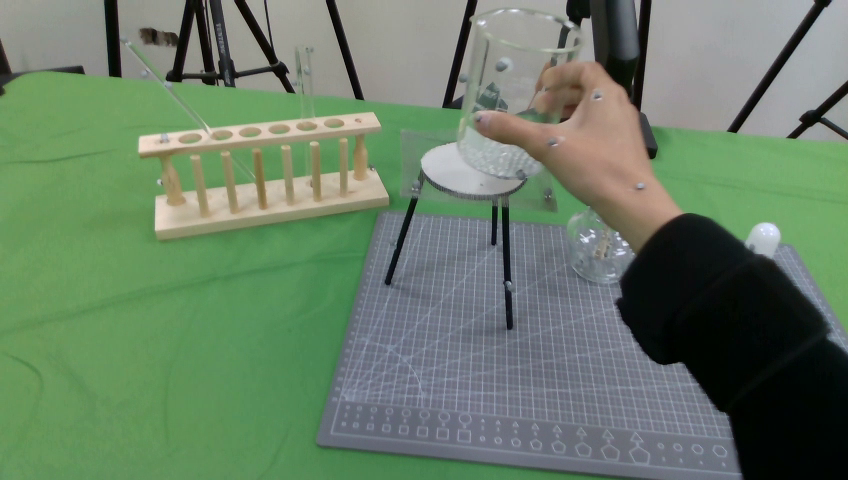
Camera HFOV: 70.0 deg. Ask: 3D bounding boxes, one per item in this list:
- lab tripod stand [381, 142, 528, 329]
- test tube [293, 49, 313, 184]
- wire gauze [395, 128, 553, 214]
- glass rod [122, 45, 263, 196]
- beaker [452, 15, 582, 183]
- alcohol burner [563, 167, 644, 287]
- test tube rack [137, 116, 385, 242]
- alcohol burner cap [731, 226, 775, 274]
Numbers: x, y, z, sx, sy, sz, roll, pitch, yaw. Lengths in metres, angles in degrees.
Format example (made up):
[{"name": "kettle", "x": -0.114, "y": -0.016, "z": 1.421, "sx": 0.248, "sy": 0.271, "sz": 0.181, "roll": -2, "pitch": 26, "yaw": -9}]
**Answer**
[{"name": "lab tripod stand", "x": 0.035, "y": -0.008, "z": 0.541, "sx": 0.148, "sy": 0.132, "sz": 0.147, "roll": 1, "pitch": 39, "yaw": -1}, {"name": "test tube", "x": -0.128, "y": -0.126, "z": 0.645, "sx": 0.017, "sy": 0.151, "sz": 0.017, "roll": 3, "pitch": 35, "yaw": -2}, {"name": "wire gauze", "x": 0.037, "y": -0.061, "z": 0.499, "sx": 0.125, "sy": 0.011, "sz": 0.120, "roll": 1, "pitch": 38, "yaw": -1}, {"name": "glass rod", "x": -0.224, "y": -0.110, "z": 0.606, "sx": 0.008, "sy": 0.202, "sz": 0.008, "roll": -19, "pitch": 43, "yaw": 19}, {"name": "beaker", "x": 0.058, "y": -0.099, "z": 0.431, "sx": 0.083, "sy": 0.101, "sz": 0.074, "roll": 28, "pitch": 42, "yaw": 24}, {"name": "alcohol burner", "x": 0.173, "y": -0.015, "z": 0.577, "sx": 0.078, "sy": 0.120, "sz": 0.077, "roll": 1, "pitch": 36, "yaw": 0}, {"name": "test tube rack", "x": -0.167, "y": -0.068, "z": 0.648, "sx": 0.243, "sy": 0.086, "sz": 0.066, "roll": -9, "pitch": 39, "yaw": -16}, {"name": "alcohol burner cap", "x": 0.338, "y": 0.007, "z": 0.619, "sx": 0.034, "sy": 0.048, "sz": 0.033, "roll": 2, "pitch": 38, "yaw": -1}]
